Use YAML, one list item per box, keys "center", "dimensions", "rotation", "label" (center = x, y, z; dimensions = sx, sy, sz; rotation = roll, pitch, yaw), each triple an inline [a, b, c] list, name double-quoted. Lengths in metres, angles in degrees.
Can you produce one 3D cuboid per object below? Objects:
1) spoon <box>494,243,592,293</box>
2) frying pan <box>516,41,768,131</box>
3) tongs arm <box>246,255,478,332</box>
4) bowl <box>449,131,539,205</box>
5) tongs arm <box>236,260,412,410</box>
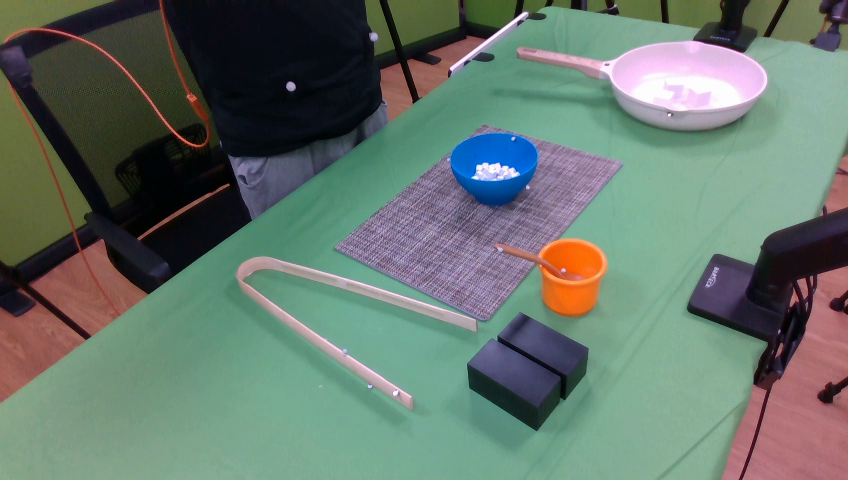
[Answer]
- center: [0.162, 0.034, 0.808]
  dimensions: [0.021, 0.195, 0.041]
  rotation: [-47, 40, 21]
  label: "spoon"
- center: [0.424, -0.338, 1.236]
  dimensions: [0.486, 0.103, 0.307]
  rotation: [19, 45, 15]
  label: "frying pan"
- center: [-0.101, 0.076, 0.890]
  dimensions: [0.385, 0.028, 0.028]
  rotation: [14, 47, 23]
  label: "tongs arm"
- center: [0.120, -0.114, 1.034]
  dimensions: [0.151, 0.077, 0.150]
  rotation: [-4, 41, 4]
  label: "bowl"
- center: [-0.148, 0.120, 0.839]
  dimensions: [0.381, 0.026, 0.051]
  rotation: [24, 49, 32]
  label: "tongs arm"
